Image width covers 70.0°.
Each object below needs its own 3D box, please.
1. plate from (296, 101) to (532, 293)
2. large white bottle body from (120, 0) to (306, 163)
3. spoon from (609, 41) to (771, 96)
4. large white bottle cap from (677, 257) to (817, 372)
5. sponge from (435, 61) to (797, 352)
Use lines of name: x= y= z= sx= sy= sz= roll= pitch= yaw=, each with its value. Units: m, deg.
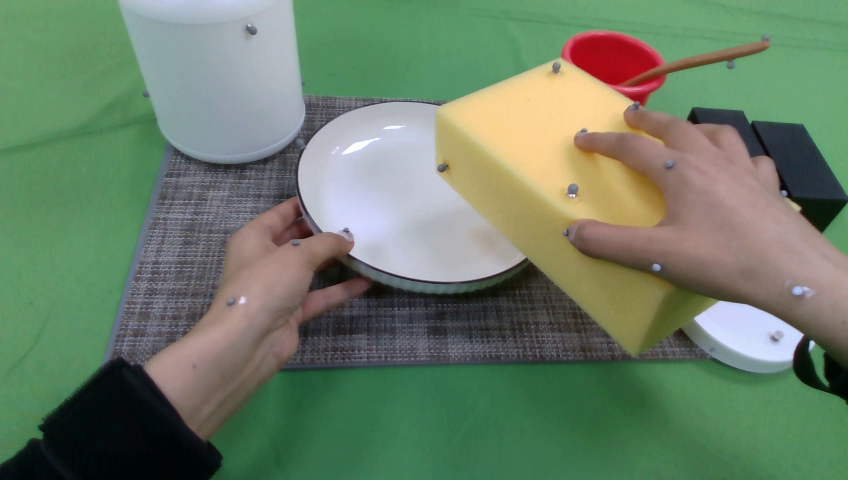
plate: x=0.001 y=-0.036 z=0.497 sx=0.209 sy=0.038 sz=0.207 roll=7 pitch=49 yaw=-7
large white bottle body: x=-0.170 y=-0.171 z=0.500 sx=0.131 sy=0.186 sz=0.129 roll=3 pitch=50 yaw=-3
spoon: x=0.208 y=-0.146 z=0.551 sx=0.022 sy=0.193 sz=0.041 roll=55 pitch=50 yaw=-21
large white bottle cap: x=0.247 y=0.049 z=0.476 sx=0.115 sy=0.018 sz=0.113 roll=5 pitch=50 yaw=-6
sponge: x=0.113 y=-0.037 z=0.410 sx=0.118 sy=0.061 sz=0.204 roll=-27 pitch=51 yaw=-22
